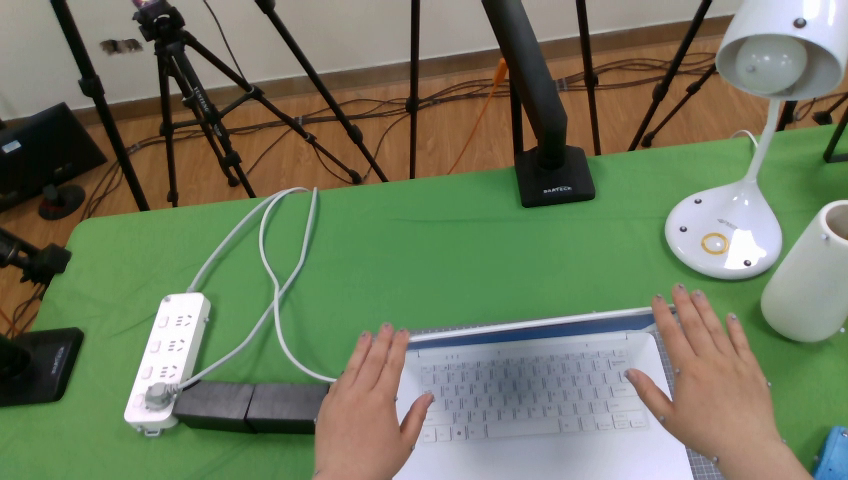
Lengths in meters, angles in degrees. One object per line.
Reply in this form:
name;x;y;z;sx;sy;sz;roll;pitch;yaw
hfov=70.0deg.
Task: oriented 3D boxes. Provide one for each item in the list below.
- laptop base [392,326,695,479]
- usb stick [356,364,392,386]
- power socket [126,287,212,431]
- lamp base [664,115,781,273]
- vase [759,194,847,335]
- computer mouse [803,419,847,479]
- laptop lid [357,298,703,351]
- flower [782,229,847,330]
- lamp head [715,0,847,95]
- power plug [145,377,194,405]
laptop base;0.134;0.229;0.763;0.354;0.023;0.233;-6;55;5
usb stick;-0.060;0.182;0.815;0.059;0.027;0.021;-2;51;3
power socket;-0.370;0.165;0.889;0.072;0.033;0.224;-3;52;6
lamp base;0.435;-0.075;0.842;0.159;0.182;0.178;23;57;25
vase;0.482;0.033;0.738;0.098;0.202;0.097;-6;51;8
computer mouse;0.470;0.253;0.674;0.062;0.041;0.117;30;58;31
laptop lid;0.116;0.104;0.717;0.356;0.243;0.013;-7;76;7
flower;0.486;-0.025;0.677;0.038;0.364;0.043;-7;40;-17
lamp head;0.355;-0.216;0.582;0.111;0.113;0.122;19;76;23
power plug;-0.345;0.210;0.825;0.072;0.053;0.035;5;54;11
